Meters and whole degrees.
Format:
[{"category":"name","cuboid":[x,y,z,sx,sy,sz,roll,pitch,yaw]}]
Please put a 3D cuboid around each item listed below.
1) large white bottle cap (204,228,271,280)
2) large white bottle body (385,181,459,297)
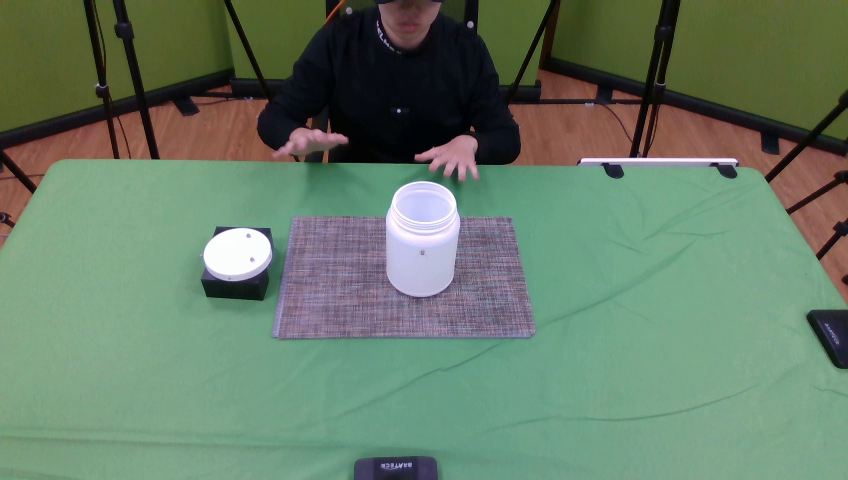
[{"category":"large white bottle cap","cuboid":[-0.333,0.024,1.084,0.115,0.018,0.114,2,46,-2]},{"category":"large white bottle body","cuboid":[-0.004,-0.003,1.082,0.131,0.185,0.130,2,46,-2]}]
